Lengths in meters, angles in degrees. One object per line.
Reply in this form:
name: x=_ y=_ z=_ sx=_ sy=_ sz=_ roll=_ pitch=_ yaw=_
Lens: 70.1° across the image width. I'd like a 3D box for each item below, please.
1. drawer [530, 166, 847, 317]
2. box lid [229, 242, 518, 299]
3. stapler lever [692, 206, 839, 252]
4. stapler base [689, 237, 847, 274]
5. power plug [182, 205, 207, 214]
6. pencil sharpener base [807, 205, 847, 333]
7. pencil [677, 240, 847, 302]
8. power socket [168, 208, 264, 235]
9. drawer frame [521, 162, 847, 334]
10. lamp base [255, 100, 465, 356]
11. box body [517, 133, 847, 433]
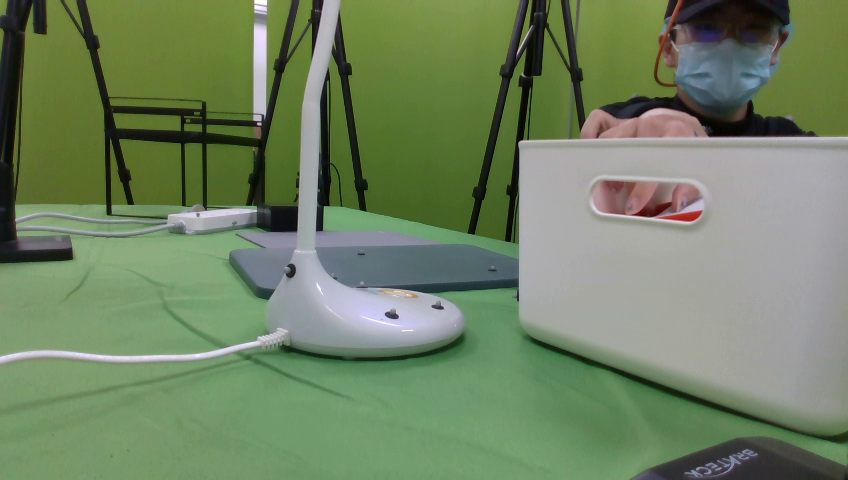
drawer: x=0.225 y=0.002 z=0.468 sx=0.213 sy=0.073 sz=0.193 roll=-13 pitch=1 yaw=-36
box lid: x=-0.041 y=0.033 z=0.765 sx=0.373 sy=0.015 sz=0.262 roll=-2 pitch=9 yaw=-25
stapler lever: x=0.266 y=-0.011 z=0.486 sx=0.027 sy=0.040 sz=0.117 roll=-15 pitch=2 yaw=-19
stapler base: x=0.270 y=0.012 z=0.487 sx=0.041 sy=0.024 sz=0.130 roll=-15 pitch=3 yaw=-19
power plug: x=-0.456 y=-0.041 z=1.195 sx=0.052 sy=0.035 sz=0.072 roll=0 pitch=39 yaw=24
pencil sharpener base: x=0.385 y=0.027 z=0.519 sx=0.062 sy=0.107 sz=0.076 roll=-5 pitch=11 yaw=-43
pencil: x=0.248 y=0.017 z=0.464 sx=0.012 sy=0.012 sz=0.193 roll=1 pitch=10 yaw=-9
power socket: x=-0.381 y=-0.038 z=1.129 sx=0.072 sy=0.032 sz=0.227 roll=4 pitch=8 yaw=17
drawer frame: x=0.223 y=0.002 z=0.465 sx=0.215 sy=0.082 sz=0.200 roll=-14 pitch=3 yaw=-36
lamp base: x=-0.051 y=-0.014 z=0.466 sx=0.160 sy=0.180 sz=0.180 roll=7 pitch=11 yaw=34
box body: x=0.278 y=0.005 z=0.486 sx=0.366 sy=0.160 sz=0.253 roll=-3 pitch=9 yaw=-36
